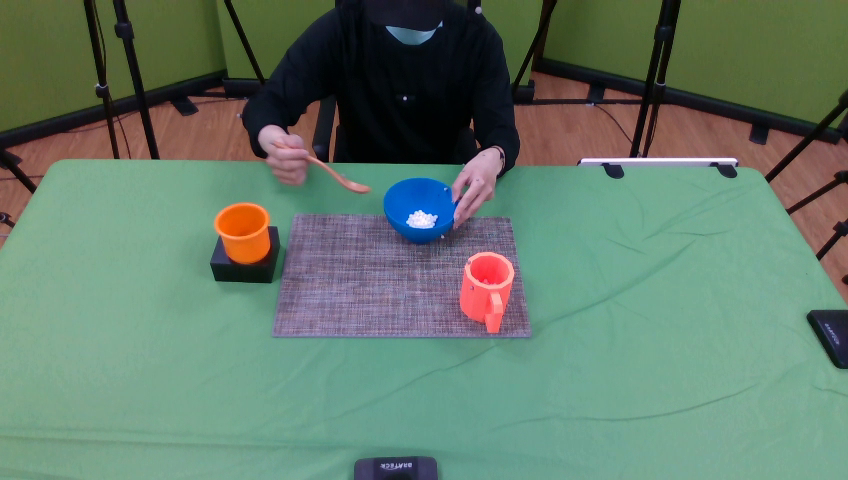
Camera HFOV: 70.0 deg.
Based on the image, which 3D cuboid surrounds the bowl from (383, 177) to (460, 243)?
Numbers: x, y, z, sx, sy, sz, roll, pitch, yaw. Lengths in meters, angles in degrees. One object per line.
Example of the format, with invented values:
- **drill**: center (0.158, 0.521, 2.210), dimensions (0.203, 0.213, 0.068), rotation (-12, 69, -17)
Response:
- **bowl**: center (-0.006, -0.048, 1.197), dimensions (0.151, 0.077, 0.150), rotation (2, 46, -2)

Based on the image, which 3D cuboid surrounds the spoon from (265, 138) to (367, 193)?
- **spoon**: center (-0.189, -0.132, 1.068), dimensions (0.194, 0.021, 0.041), rotation (31, 19, -13)

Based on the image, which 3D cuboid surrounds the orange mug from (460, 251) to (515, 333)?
- **orange mug**: center (0.114, 0.095, 1.053), dimensions (0.083, 0.101, 0.125), rotation (-5, 42, -8)
